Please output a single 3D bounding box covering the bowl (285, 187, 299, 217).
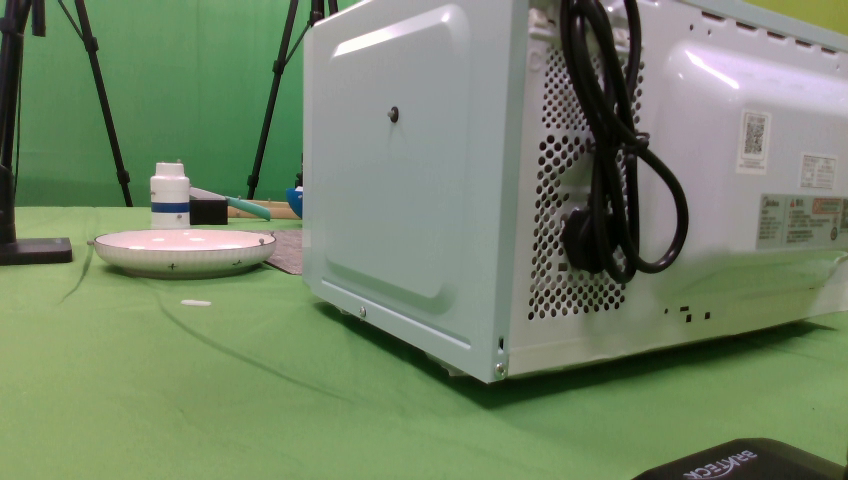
[{"bbox_3d":[-0.218,-0.069,1.274,0.151,0.077,0.151,3,8,0],"label":"bowl"}]

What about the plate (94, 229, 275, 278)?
[{"bbox_3d":[-0.291,0.016,0.749,0.208,0.039,0.207,2,7,0],"label":"plate"}]

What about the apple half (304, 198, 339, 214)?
[{"bbox_3d":[-0.217,-0.073,1.274,0.081,0.033,0.081,3,9,0],"label":"apple half"}]

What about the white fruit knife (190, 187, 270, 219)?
[{"bbox_3d":[-0.413,-0.081,1.270,0.208,0.027,0.016,17,13,-41],"label":"white fruit knife"}]

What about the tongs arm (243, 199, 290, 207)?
[{"bbox_3d":[-0.309,-0.079,1.487,0.385,0.026,0.050,3,7,-2],"label":"tongs arm"}]

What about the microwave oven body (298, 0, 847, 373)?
[{"bbox_3d":[0.151,-0.055,0.543,0.444,0.260,0.324,-1,7,-33],"label":"microwave oven body"}]

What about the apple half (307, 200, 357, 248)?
[{"bbox_3d":[-0.136,-0.024,0.942,0.053,0.074,0.081,15,10,38],"label":"apple half"}]

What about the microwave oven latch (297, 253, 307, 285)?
[{"bbox_3d":[-0.082,0.027,0.582,0.079,0.029,0.030,-1,7,-33],"label":"microwave oven latch"}]

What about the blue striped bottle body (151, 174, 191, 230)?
[{"bbox_3d":[-0.439,-0.071,1.052,0.063,0.120,0.063,2,7,0],"label":"blue striped bottle body"}]

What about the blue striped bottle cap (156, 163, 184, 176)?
[{"bbox_3d":[-0.438,-0.122,1.045,0.044,0.020,0.044,5,6,0],"label":"blue striped bottle cap"}]

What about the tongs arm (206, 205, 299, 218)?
[{"bbox_3d":[-0.302,-0.065,1.407,0.389,0.028,0.028,1,4,-15],"label":"tongs arm"}]

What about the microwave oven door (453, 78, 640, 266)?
[{"bbox_3d":[0.164,-0.106,0.918,0.039,0.243,0.354,-2,8,-32],"label":"microwave oven door"}]
